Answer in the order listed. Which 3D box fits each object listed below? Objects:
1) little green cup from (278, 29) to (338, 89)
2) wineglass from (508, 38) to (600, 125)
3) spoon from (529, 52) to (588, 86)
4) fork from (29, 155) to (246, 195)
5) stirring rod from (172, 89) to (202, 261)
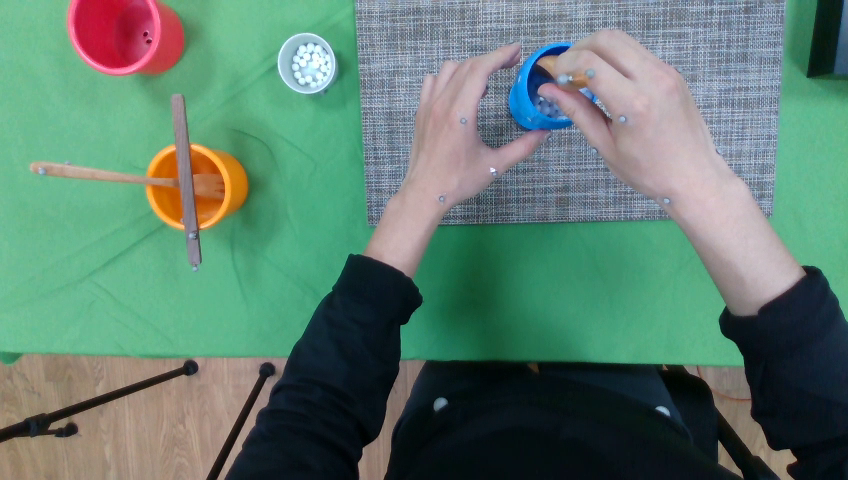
[{"bbox_3d":[-0.123,-0.193,0.653,0.061,0.038,0.062,1,101,4],"label":"little green cup"},{"bbox_3d":[0.117,-0.144,0.575,0.074,0.172,0.074,1,99,4],"label":"wineglass"},{"bbox_3d":[0.101,-0.122,0.439,0.041,0.192,0.022,16,112,0],"label":"spoon"},{"bbox_3d":[-0.288,-0.068,0.630,0.209,0.018,0.028,3,111,-41],"label":"fork"},{"bbox_3d":[-0.245,-0.065,0.626,0.014,0.006,0.176,-1,100,4],"label":"stirring rod"}]
